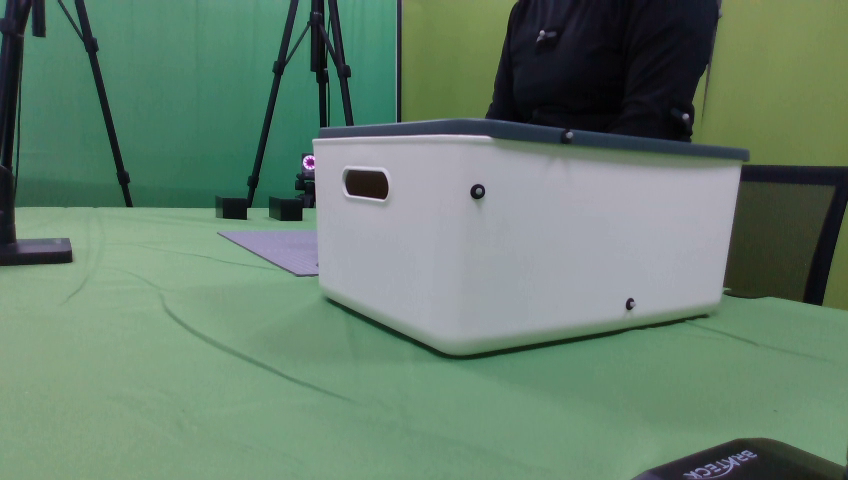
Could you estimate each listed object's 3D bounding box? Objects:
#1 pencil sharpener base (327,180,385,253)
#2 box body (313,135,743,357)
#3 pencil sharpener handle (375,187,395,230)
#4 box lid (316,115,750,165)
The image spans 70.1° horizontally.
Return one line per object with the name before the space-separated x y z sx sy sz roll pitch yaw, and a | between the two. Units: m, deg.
pencil sharpener base | -0.103 -0.037 0.932 0.077 0.107 0.061 -1 7 -30
box body | 0.099 -0.011 0.596 0.366 0.160 0.253 -2 8 -34
pencil sharpener handle | -0.059 -0.050 0.958 0.031 0.067 0.036 -1 13 -30
box lid | 0.106 -0.089 0.593 0.374 0.015 0.262 -1 6 -35
